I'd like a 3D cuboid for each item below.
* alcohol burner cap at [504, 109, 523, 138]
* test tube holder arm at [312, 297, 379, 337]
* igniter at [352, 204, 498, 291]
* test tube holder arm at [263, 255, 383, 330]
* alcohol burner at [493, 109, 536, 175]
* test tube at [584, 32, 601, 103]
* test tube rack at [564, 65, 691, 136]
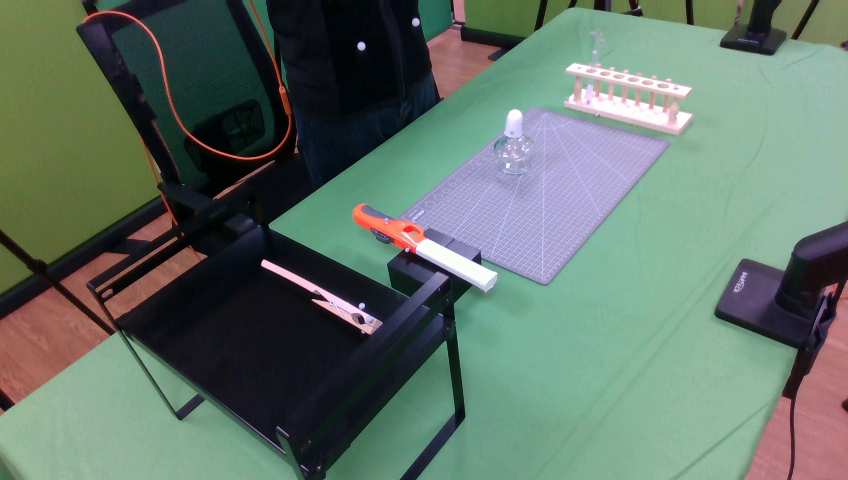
[{"bbox_3d":[0.159,-0.206,1.063,0.034,0.048,0.033,0,41,1],"label":"alcohol burner cap"},{"bbox_3d":[-0.082,0.075,0.622,0.087,0.015,0.010,27,80,33],"label":"test tube holder arm"},{"bbox_3d":[-0.009,0.005,0.895,0.274,0.025,0.057,27,48,32],"label":"igniter"},{"bbox_3d":[-0.113,0.054,0.647,0.177,0.015,0.013,26,80,33],"label":"test tube holder arm"},{"bbox_3d":[0.163,-0.179,1.087,0.078,0.119,0.077,-5,39,5],"label":"alcohol burner"},{"bbox_3d":[0.333,-0.338,1.198,0.017,0.151,0.017,-3,45,3],"label":"test tube"},{"bbox_3d":[0.404,-0.287,1.204,0.240,0.085,0.067,24,49,32],"label":"test tube rack"}]
